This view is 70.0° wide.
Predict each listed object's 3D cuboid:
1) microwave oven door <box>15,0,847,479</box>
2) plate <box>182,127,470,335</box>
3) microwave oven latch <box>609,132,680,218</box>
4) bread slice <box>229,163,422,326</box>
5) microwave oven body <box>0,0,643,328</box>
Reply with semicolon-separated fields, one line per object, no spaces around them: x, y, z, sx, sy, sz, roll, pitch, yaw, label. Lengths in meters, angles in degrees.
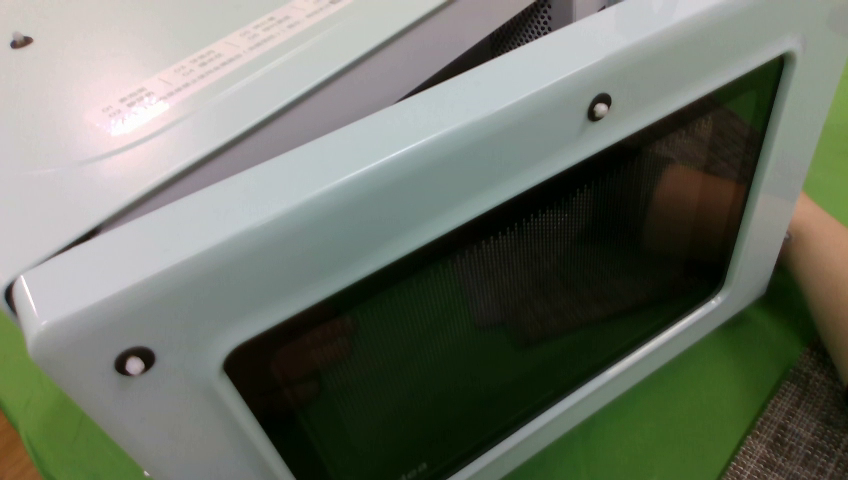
0.058;0.025;0.293;0.356;0.246;0.039;-28;45;-17;microwave oven door
-0.068;-0.010;0.443;0.209;0.038;0.207;-7;42;7;plate
0.183;-0.054;0.500;0.030;0.030;0.079;26;55;33;microwave oven latch
-0.070;-0.009;0.449;0.131;0.019;0.104;-39;51;-19;bread slice
-0.058;-0.073;0.429;0.323;0.263;0.441;26;55;33;microwave oven body
